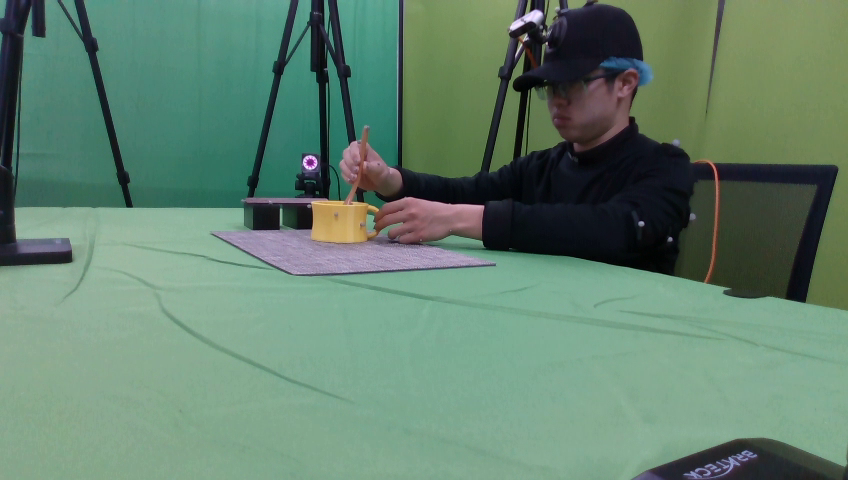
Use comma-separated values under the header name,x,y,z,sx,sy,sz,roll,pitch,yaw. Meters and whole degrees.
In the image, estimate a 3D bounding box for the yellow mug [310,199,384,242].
name,x,y,z,sx,sy,sz,roll,pitch,yaw
yellow mug,-0.132,-0.035,1.054,0.131,0.064,0.099,0,8,-23

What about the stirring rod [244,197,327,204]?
name,x,y,z,sx,sy,sz,roll,pitch,yaw
stirring rod,-0.270,-0.078,1.200,0.177,0.006,0.014,-2,44,-37

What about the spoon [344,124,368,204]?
name,x,y,z,sx,sy,sz,roll,pitch,yaw
spoon,-0.119,-0.103,1.035,0.022,0.193,0.041,15,2,-18
